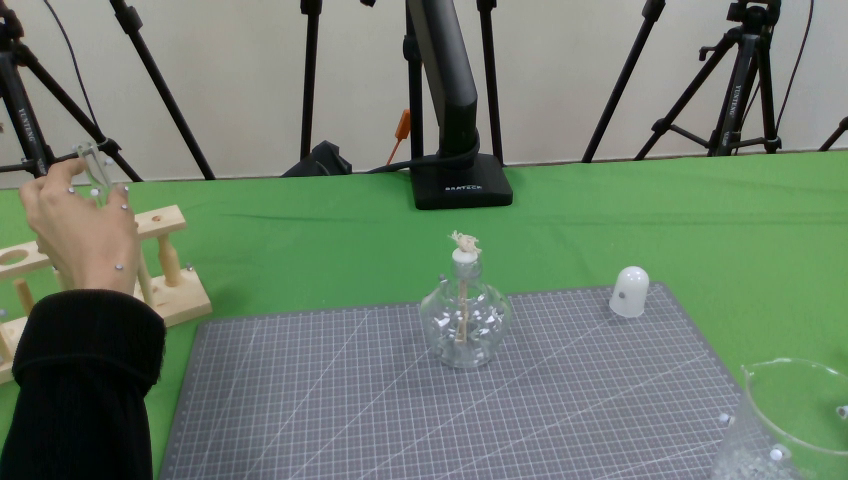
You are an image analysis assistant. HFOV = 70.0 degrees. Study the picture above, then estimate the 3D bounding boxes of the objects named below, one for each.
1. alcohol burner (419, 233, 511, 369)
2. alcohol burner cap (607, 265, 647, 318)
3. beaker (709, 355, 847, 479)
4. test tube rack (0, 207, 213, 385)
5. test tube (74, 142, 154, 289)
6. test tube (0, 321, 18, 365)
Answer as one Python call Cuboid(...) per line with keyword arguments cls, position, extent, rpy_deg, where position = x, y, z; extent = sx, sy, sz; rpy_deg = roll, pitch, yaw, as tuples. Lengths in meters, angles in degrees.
Cuboid(cls="alcohol burner", position=(0.033, 0.047, 0.499), extent=(0.078, 0.120, 0.077), rpy_deg=(-1, 33, 1))
Cuboid(cls="alcohol burner cap", position=(0.191, 0.045, 0.567), extent=(0.034, 0.048, 0.033), rpy_deg=(0, 35, 0))
Cuboid(cls="beaker", position=(0.228, 0.134, 0.387), extent=(0.074, 0.101, 0.083), rpy_deg=(-23, 40, -29))
Cuboid(cls="test tube rack", position=(-0.318, 0.054, 0.517), extent=(0.243, 0.086, 0.066), rpy_deg=(-19, 39, -26))
Cuboid(cls="test tube", position=(-0.268, -0.016, 0.530), extent=(0.017, 0.151, 0.017), rpy_deg=(-3, 37, 2))
Cuboid(cls="test tube", position=(-0.347, 0.037, 0.462), extent=(0.017, 0.152, 0.017), rpy_deg=(-1, 34, 1))
